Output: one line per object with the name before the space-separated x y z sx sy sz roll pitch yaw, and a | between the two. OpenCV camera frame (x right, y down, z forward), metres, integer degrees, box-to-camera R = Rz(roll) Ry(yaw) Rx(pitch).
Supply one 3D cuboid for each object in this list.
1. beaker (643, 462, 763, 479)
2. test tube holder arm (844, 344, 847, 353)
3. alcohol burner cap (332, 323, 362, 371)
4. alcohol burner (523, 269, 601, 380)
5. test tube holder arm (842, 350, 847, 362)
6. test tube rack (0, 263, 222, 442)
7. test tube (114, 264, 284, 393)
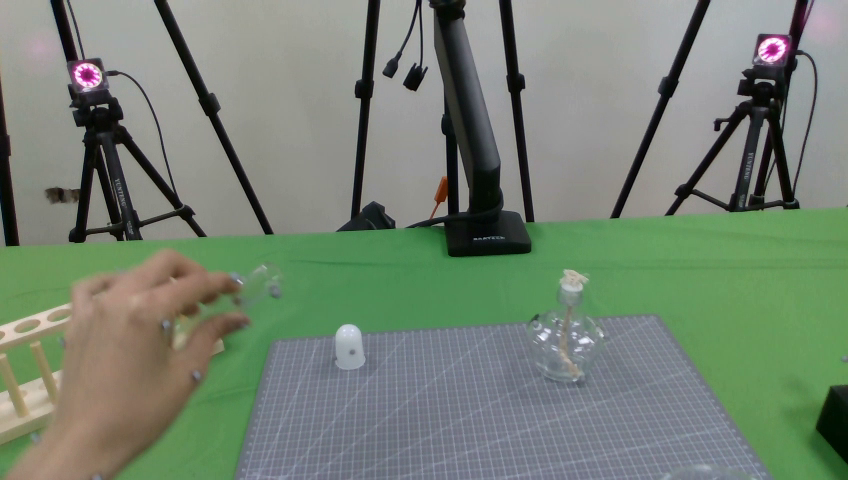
beaker | 0.146 0.179 0.317 0.083 0.101 0.074 14 26 27
test tube holder arm | 0.391 0.117 0.519 0.015 0.010 0.087 2 28 5
alcohol burner cap | -0.084 0.111 0.643 0.034 0.048 0.033 -2 28 1
alcohol burner | 0.140 0.081 0.610 0.078 0.120 0.077 0 28 0
test tube holder arm | 0.387 0.143 0.482 0.015 0.013 0.177 2 28 5
test tube rack | -0.342 0.111 0.617 0.243 0.086 0.066 -21 34 -33
test tube | -0.148 0.059 0.388 0.150 0.017 0.017 -34 22 18
